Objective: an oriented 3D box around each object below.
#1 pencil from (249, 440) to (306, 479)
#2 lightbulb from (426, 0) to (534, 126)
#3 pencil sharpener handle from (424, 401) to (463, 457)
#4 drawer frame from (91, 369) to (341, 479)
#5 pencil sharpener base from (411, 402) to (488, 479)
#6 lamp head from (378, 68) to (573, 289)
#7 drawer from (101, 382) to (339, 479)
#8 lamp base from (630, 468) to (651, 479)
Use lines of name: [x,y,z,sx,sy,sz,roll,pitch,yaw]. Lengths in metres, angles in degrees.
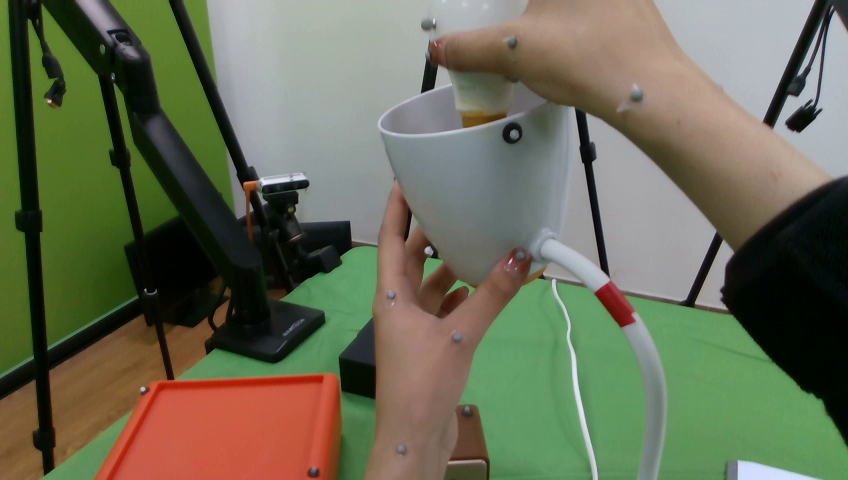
pencil: [-0.181,0.236,0.525,0.194,0.012,0.012,-34,39,-31]
lightbulb: [0.033,-0.098,0.342,0.059,0.108,0.059,-4,18,2]
pencil sharpener handle: [0.016,0.175,0.583,0.036,0.068,0.030,3,25,-5]
drawer frame: [-0.185,0.217,0.554,0.202,0.083,0.212,-3,24,-3]
pencil sharpener base: [0.021,0.207,0.543,0.061,0.108,0.076,-2,25,-2]
lamp head: [0.042,-0.031,0.365,0.112,0.124,0.111,-15,22,6]
drawer: [-0.183,0.220,0.552,0.195,0.074,0.210,-3,24,-2]
lamp base: [0.135,0.246,0.365,0.161,0.181,0.178,-4,21,-6]
